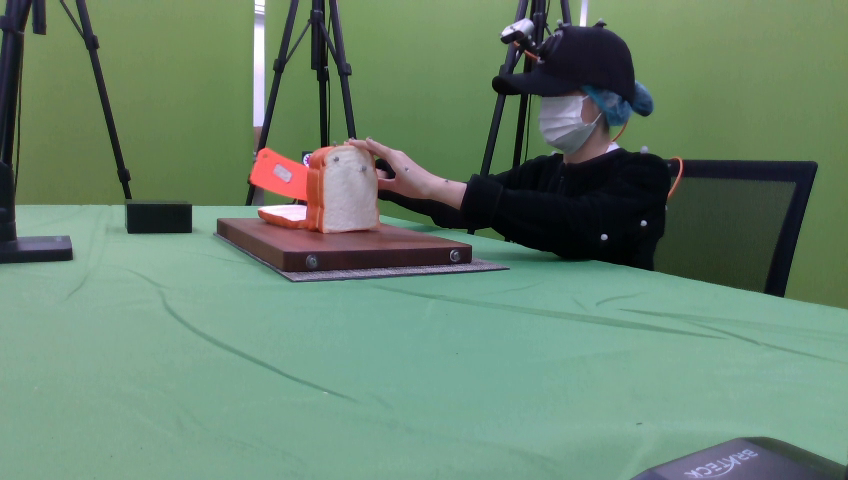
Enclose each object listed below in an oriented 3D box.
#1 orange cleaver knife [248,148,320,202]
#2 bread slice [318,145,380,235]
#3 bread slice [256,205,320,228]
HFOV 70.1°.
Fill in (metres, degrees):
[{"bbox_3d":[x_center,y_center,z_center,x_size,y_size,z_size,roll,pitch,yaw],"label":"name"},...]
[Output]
[{"bbox_3d":[-0.215,-0.107,1.081,0.212,0.077,0.012,10,-12,-42],"label":"orange cleaver knife"},{"bbox_3d":[-0.118,-0.077,0.922,0.107,0.134,0.018,-11,12,-42],"label":"bread slice"},{"bbox_3d":[-0.212,-0.040,1.008,0.131,0.019,0.105,14,14,42],"label":"bread slice"}]
